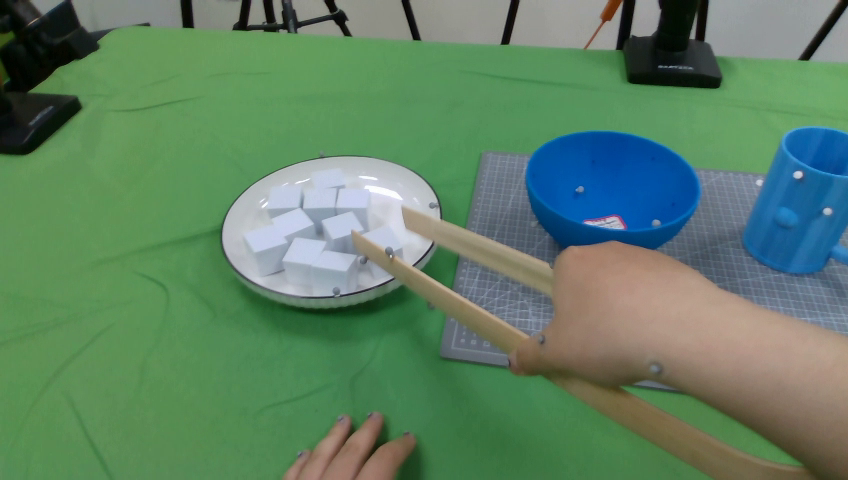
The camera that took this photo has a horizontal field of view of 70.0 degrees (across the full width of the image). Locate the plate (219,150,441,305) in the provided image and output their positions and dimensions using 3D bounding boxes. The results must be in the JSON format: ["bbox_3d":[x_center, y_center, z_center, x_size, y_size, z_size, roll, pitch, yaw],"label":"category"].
[{"bbox_3d":[-0.087,-0.013,0.582,0.209,0.038,0.207,0,43,1],"label":"plate"}]

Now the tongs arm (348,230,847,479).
[{"bbox_3d":[0.057,0.049,0.394,0.051,0.027,0.381,-23,29,-26],"label":"tongs arm"}]

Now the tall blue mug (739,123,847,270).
[{"bbox_3d":[0.352,-0.033,0.534,0.106,0.109,0.077,15,45,17],"label":"tall blue mug"}]

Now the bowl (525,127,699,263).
[{"bbox_3d":[0.166,-0.032,0.561,0.151,0.077,0.150,-1,43,1],"label":"bowl"}]

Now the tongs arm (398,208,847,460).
[{"bbox_3d":[0.084,0.037,0.410,0.028,0.028,0.383,-20,28,-29],"label":"tongs arm"}]
